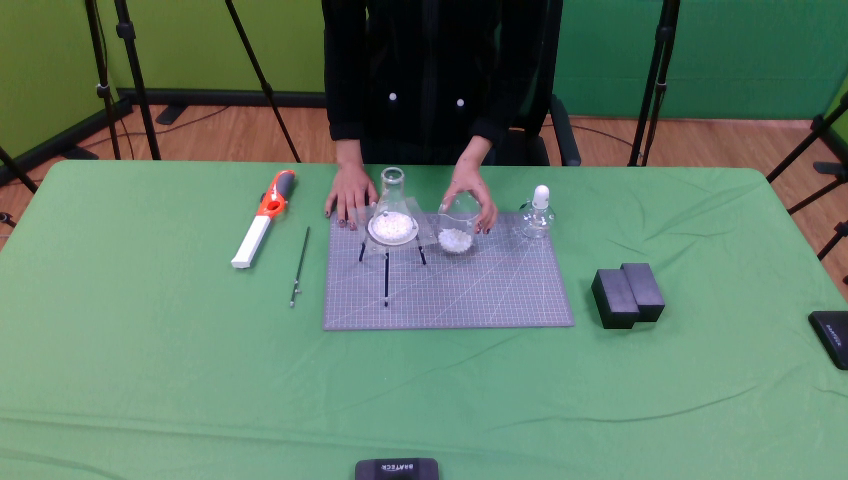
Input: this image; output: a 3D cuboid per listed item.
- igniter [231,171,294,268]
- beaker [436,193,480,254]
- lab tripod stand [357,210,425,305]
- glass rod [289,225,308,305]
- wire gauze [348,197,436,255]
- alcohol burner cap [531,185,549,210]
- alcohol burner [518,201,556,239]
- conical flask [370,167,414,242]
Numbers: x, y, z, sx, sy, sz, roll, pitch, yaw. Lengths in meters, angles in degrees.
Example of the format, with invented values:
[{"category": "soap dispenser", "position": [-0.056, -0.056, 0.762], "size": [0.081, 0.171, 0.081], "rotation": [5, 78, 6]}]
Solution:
[{"category": "igniter", "position": [-0.321, -0.051, 1.220], "size": [0.057, 0.025, 0.275], "rotation": [2, 45, 12]}, {"category": "beaker", "position": [0.060, -0.028, 1.155], "size": [0.084, 0.101, 0.073], "rotation": [-12, 49, -17]}, {"category": "lab tripod stand", "position": [-0.060, 0.020, 1.094], "size": [0.148, 0.132, 0.147], "rotation": [3, 44, -2]}, {"category": "glass rod", "position": [-0.236, 0.043, 1.149], "size": [0.008, 0.008, 0.198], "rotation": [3, 46, -1]}, {"category": "wire gauze", "position": [-0.056, -0.025, 1.046], "size": [0.125, 0.011, 0.120], "rotation": [-14, 46, -15]}, {"category": "alcohol burner cap", "position": [0.228, -0.085, 1.183], "size": [0.034, 0.048, 0.033], "rotation": [-1, 48, 2]}, {"category": "alcohol burner", "position": [0.227, -0.061, 1.210], "size": [0.078, 0.120, 0.077], "rotation": [1, 44, -1]}, {"category": "conical flask", "position": [-0.053, -0.062, 1.000], "size": [0.075, 0.122, 0.075], "rotation": [2, 44, -2]}]
